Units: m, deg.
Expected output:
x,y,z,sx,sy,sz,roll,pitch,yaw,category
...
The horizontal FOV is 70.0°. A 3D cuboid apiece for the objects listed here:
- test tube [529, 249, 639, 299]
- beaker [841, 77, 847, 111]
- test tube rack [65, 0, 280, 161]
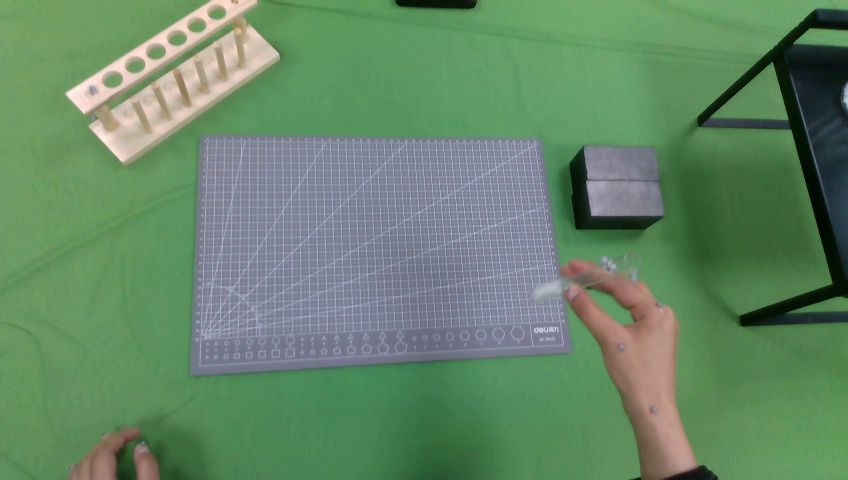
x,y,z,sx,sy,sz,roll,pitch,yaw,category
0.134,0.033,0.533,0.017,0.150,0.017,6,73,-20,test tube
0.528,-0.180,0.674,0.084,0.100,0.073,-6,73,-11,beaker
-0.294,-0.208,0.739,0.066,0.085,0.242,45,71,7,test tube rack
